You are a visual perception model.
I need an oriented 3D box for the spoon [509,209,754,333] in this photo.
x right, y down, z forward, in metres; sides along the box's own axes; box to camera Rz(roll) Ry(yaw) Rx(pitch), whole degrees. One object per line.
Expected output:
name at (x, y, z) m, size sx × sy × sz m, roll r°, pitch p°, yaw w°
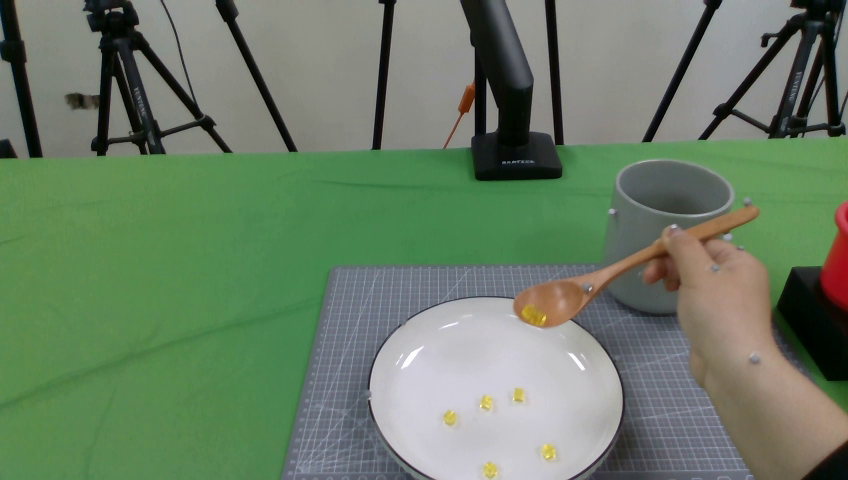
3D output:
spoon at (0.154, 0.021, 0.449) m, size 0.194 × 0.022 × 0.041 m, roll -27°, pitch 44°, yaw 6°

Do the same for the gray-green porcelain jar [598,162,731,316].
gray-green porcelain jar at (0.230, 0.003, 0.597) m, size 0.106 × 0.127 × 0.105 m, roll -1°, pitch 36°, yaw 1°

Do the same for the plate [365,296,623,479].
plate at (0.056, 0.128, 0.507) m, size 0.208 × 0.039 × 0.205 m, roll -1°, pitch 36°, yaw 1°
